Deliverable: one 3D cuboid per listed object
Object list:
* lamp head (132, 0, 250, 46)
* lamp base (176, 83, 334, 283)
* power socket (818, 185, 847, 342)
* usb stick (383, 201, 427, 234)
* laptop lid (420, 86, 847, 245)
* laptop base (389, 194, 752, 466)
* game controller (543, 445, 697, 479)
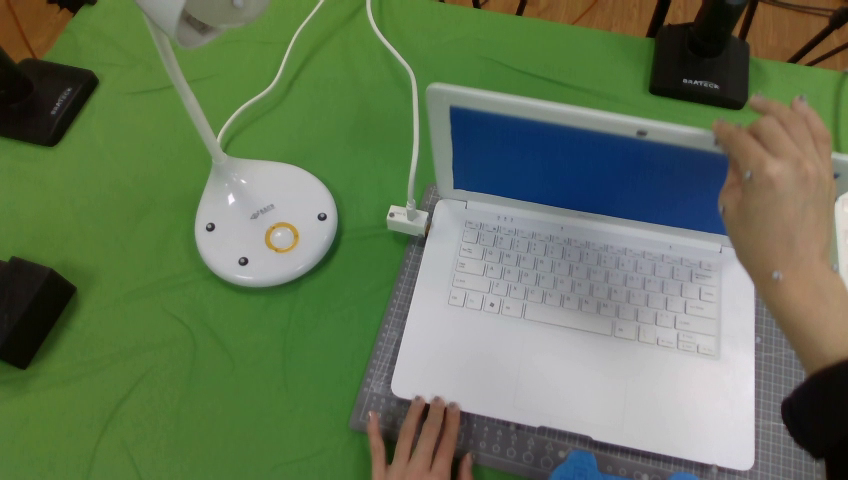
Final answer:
[{"bbox_3d":[-0.154,-0.193,0.353,0.123,0.112,0.112,39,68,-6],"label":"lamp head"},{"bbox_3d":[-0.195,-0.067,0.630,0.178,0.182,0.160,38,70,22],"label":"lamp base"},{"bbox_3d":[0.474,0.014,0.657,0.072,0.033,0.225,12,64,6],"label":"power socket"},{"bbox_3d":[-0.015,-0.024,0.680,0.059,0.027,0.021,14,59,5],"label":"usb stick"},{"bbox_3d":[0.176,-0.060,0.573,0.356,0.243,0.013,10,75,8],"label":"laptop lid"},{"bbox_3d":[0.159,0.082,0.637,0.354,0.023,0.234,10,67,6],"label":"laptop base"},{"bbox_3d":[0.178,0.242,0.539,0.155,0.052,0.096,11,61,6],"label":"game controller"}]
